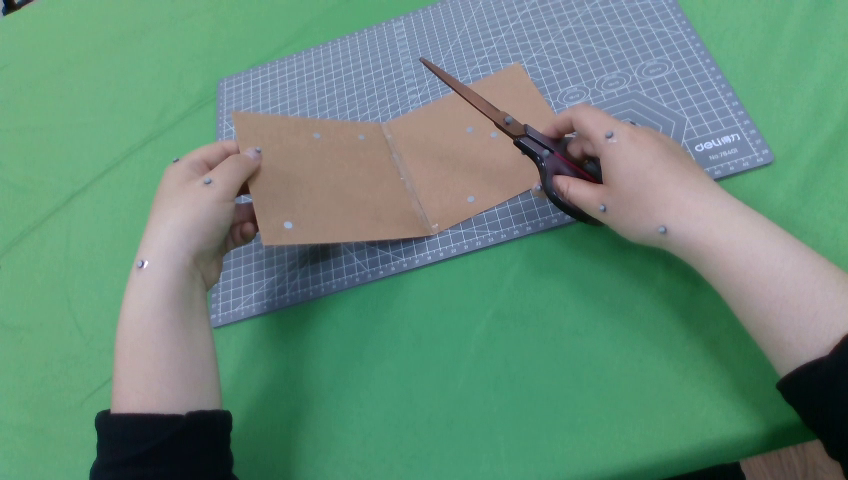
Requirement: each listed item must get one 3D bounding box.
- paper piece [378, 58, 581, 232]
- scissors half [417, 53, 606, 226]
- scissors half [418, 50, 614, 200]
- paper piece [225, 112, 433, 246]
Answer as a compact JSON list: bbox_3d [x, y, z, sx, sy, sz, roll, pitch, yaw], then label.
[{"bbox_3d":[0.042,-0.086,0.510,0.135,0.004,0.134,-25,57,2],"label":"paper piece"},{"bbox_3d":[0.061,-0.071,0.423,0.175,0.013,0.040,43,43,-3],"label":"scissors half"},{"bbox_3d":[0.068,-0.084,0.436,0.176,0.013,0.039,32,50,-14],"label":"scissors half"},{"bbox_3d":[-0.076,-0.053,0.481,0.139,0.009,0.134,-3,51,-29],"label":"paper piece"}]
